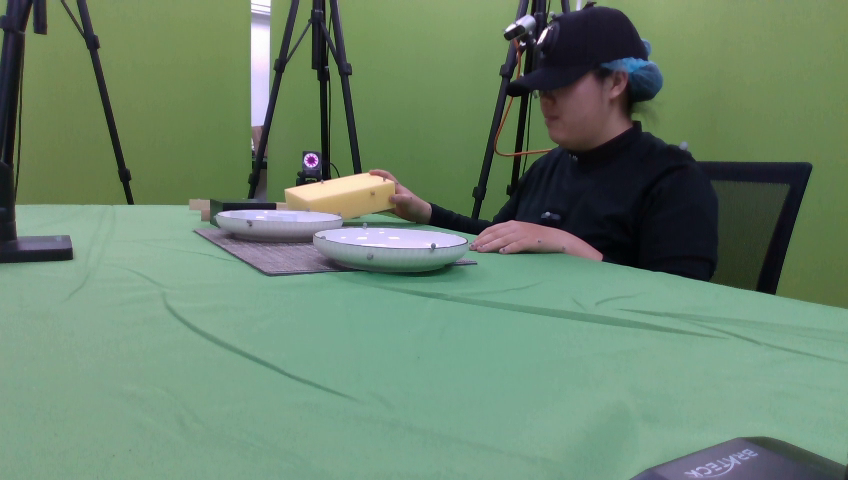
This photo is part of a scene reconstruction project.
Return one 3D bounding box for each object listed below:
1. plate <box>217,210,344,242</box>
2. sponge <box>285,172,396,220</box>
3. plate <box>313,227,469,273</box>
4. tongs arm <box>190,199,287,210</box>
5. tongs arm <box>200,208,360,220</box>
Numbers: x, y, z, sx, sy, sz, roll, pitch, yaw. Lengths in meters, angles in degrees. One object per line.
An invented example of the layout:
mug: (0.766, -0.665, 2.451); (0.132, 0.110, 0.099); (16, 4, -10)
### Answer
plate: (-0.241, -0.024, 1.026); (0.208, 0.039, 0.207); (3, 7, 0)
sponge: (-0.177, -0.090, 1.293); (0.208, 0.061, 0.117); (-16, 25, -33)
plate: (-0.044, 0.012, 0.807); (0.209, 0.038, 0.209); (2, 7, 0)
tongs arm: (-0.341, -0.075, 1.419); (0.387, 0.026, 0.050); (0, 8, -25)
tongs arm: (-0.302, -0.060, 1.350); (0.390, 0.028, 0.028); (-3, 7, -38)
